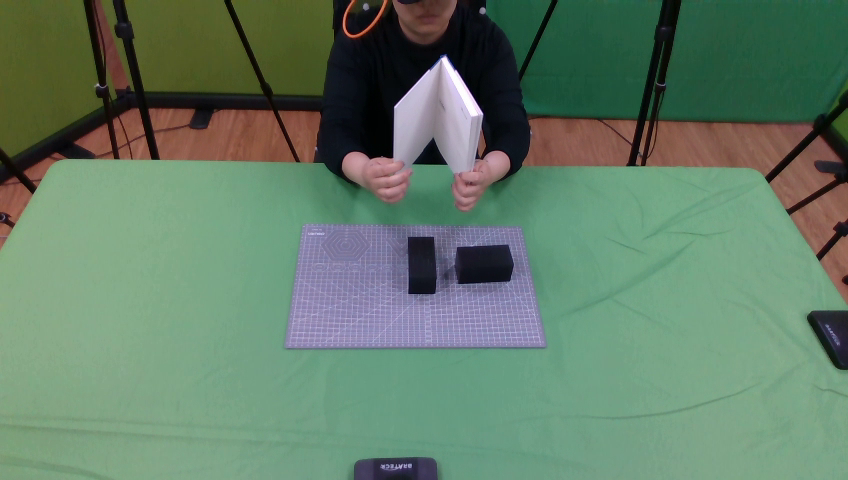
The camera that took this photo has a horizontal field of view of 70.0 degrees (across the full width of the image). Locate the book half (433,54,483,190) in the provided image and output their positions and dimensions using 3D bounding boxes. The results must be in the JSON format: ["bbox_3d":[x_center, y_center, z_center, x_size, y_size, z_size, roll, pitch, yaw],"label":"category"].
[{"bbox_3d":[0.057,-0.206,1.098,0.016,0.211,0.147,-19,62,-14],"label":"book half"}]

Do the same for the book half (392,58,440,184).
[{"bbox_3d":[-0.015,-0.209,1.094,0.007,0.211,0.143,30,61,14],"label":"book half"}]
